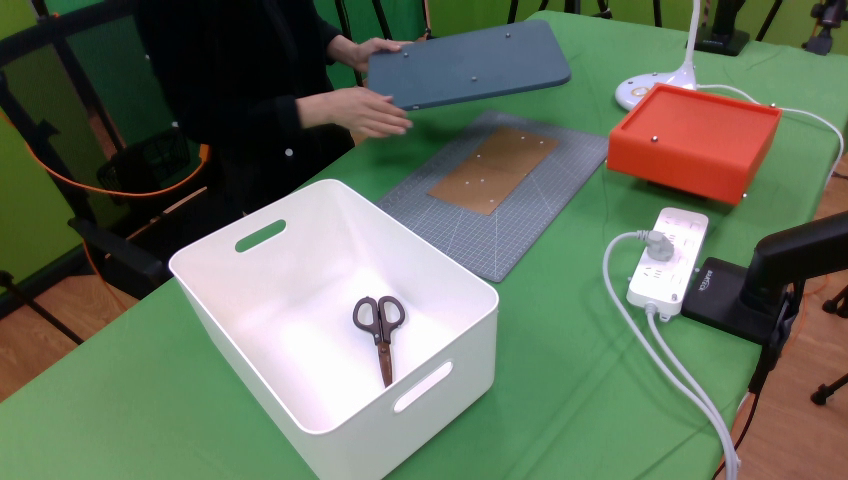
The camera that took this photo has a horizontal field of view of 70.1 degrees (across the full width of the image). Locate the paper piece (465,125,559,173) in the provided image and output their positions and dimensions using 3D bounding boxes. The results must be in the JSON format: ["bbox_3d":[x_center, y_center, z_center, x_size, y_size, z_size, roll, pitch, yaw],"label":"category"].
[{"bbox_3d":[0.172,-0.177,1.168,0.137,0.009,0.136,21,45,30],"label":"paper piece"}]

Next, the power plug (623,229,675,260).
[{"bbox_3d":[0.327,0.007,0.878,0.072,0.053,0.035,25,51,33],"label":"power plug"}]

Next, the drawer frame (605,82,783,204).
[{"bbox_3d":[0.441,-0.167,0.995,0.212,0.083,0.202,23,48,30],"label":"drawer frame"}]

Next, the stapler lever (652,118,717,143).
[{"bbox_3d":[0.436,-0.192,1.014,0.118,0.040,0.026,-15,24,-16],"label":"stapler lever"}]

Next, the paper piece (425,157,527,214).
[{"bbox_3d":[0.095,-0.103,1.090,0.134,0.004,0.136,22,48,30],"label":"paper piece"}]

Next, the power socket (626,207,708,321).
[{"bbox_3d":[0.360,0.026,0.886,0.072,0.033,0.227,16,46,26],"label":"power socket"}]

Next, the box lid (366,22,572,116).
[{"bbox_3d":[0.072,-0.329,1.144,0.371,0.015,0.262,-9,40,3],"label":"box lid"}]

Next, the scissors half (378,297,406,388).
[{"bbox_3d":[-0.045,0.142,0.818,0.040,0.013,0.174,6,40,-6],"label":"scissors half"}]

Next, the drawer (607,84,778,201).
[{"bbox_3d":[0.438,-0.167,0.996,0.210,0.073,0.195,23,48,30],"label":"drawer"}]

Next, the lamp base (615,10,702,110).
[{"bbox_3d":[0.484,-0.364,1.211,0.180,0.181,0.159,-15,41,-14],"label":"lamp base"}]

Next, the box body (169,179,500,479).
[{"bbox_3d":[-0.110,0.103,0.761,0.255,0.161,0.361,-33,46,-27],"label":"box body"}]

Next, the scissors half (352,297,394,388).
[{"bbox_3d":[-0.065,0.142,0.815,0.040,0.013,0.174,-10,42,-15],"label":"scissors half"}]

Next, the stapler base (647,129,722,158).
[{"bbox_3d":[0.439,-0.167,1.023,0.131,0.024,0.041,-17,25,-15],"label":"stapler base"}]
